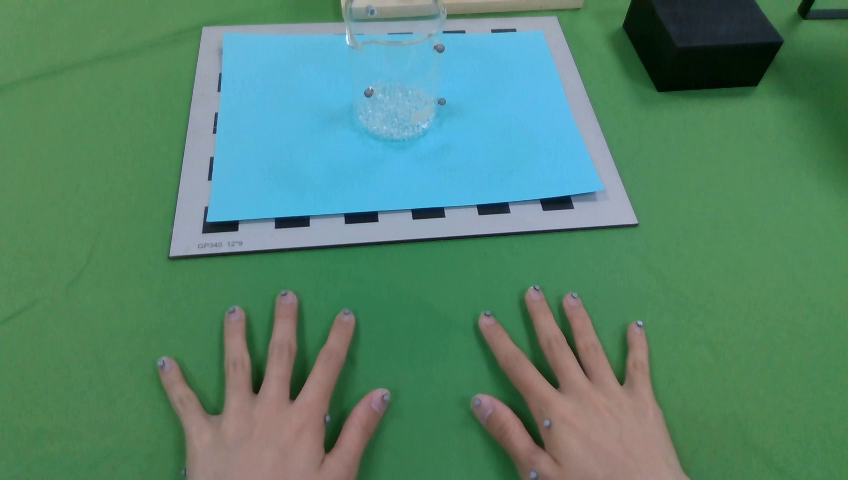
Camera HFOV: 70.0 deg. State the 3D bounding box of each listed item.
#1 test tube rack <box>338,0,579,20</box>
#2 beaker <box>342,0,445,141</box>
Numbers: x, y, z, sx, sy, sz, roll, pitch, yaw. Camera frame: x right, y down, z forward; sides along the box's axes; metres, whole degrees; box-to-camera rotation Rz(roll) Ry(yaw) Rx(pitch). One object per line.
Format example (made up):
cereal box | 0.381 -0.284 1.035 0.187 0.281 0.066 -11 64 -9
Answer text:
test tube rack | 0.035 -0.276 0.588 0.243 0.086 0.066 -5 55 -8
beaker | -0.026 -0.133 0.471 0.073 0.101 0.084 35 60 20
